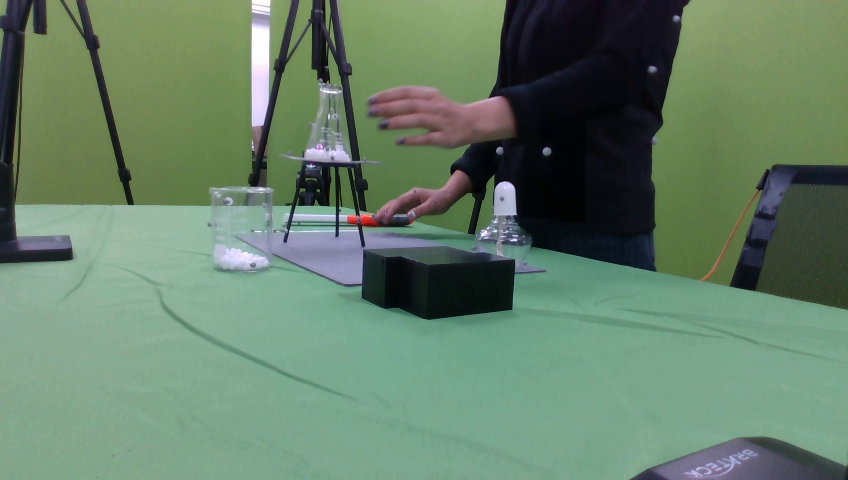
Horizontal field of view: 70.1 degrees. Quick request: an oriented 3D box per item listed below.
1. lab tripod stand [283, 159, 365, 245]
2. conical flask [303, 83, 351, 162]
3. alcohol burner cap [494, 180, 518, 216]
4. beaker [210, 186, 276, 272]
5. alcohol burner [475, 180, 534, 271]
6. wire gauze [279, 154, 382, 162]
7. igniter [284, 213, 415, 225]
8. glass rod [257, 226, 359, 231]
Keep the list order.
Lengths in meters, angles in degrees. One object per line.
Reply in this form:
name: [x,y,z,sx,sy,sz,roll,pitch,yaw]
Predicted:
lab tripod stand: [-0.151,-0.063,0.983,0.148,0.131,0.148,4,7,0]
conical flask: [-0.151,-0.186,0.963,0.075,0.122,0.075,4,6,0]
alcohol burner cap: [0.108,-0.055,0.800,0.034,0.048,0.034,-2,3,0]
beaker: [-0.224,-0.014,0.738,0.084,0.100,0.074,4,7,16]
alcohol burner: [0.108,-0.020,0.804,0.078,0.119,0.078,3,5,0]
wire gauze: [-0.149,-0.128,0.974,0.124,0.011,0.122,6,6,41]
igniter: [-0.154,-0.045,1.282,0.278,0.025,0.057,0,-3,-20]
glass rod: [-0.216,-0.022,1.151,0.201,0.008,0.008,-2,8,-28]
